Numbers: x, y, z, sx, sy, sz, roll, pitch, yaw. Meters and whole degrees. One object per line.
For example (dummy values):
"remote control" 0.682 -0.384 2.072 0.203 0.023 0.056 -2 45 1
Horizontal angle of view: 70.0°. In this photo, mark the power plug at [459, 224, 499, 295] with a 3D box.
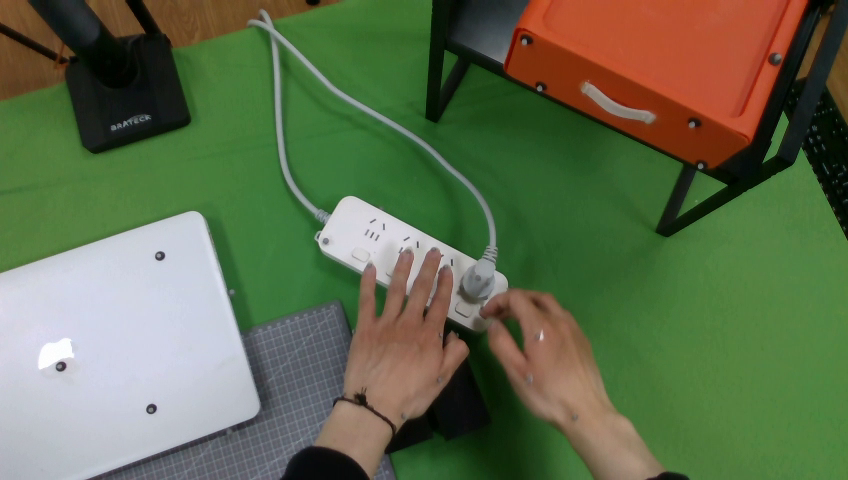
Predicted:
"power plug" 0.066 0.026 0.644 0.035 0.053 0.072 37 78 7

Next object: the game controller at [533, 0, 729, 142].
"game controller" 0.181 -0.160 0.517 0.155 0.052 0.097 30 82 6

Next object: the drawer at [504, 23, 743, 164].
"drawer" 0.200 -0.200 0.512 0.194 0.073 0.211 27 78 4

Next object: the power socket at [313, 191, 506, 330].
"power socket" -0.014 0.022 0.664 0.226 0.033 0.072 28 78 4

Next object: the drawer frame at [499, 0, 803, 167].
"drawer frame" 0.199 -0.203 0.512 0.201 0.083 0.213 26 78 4

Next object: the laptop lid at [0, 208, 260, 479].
"laptop lid" -0.371 0.126 0.622 0.357 0.013 0.240 -18 81 -6

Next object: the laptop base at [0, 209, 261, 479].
"laptop base" -0.372 0.127 0.635 0.354 0.023 0.234 -20 82 -7
